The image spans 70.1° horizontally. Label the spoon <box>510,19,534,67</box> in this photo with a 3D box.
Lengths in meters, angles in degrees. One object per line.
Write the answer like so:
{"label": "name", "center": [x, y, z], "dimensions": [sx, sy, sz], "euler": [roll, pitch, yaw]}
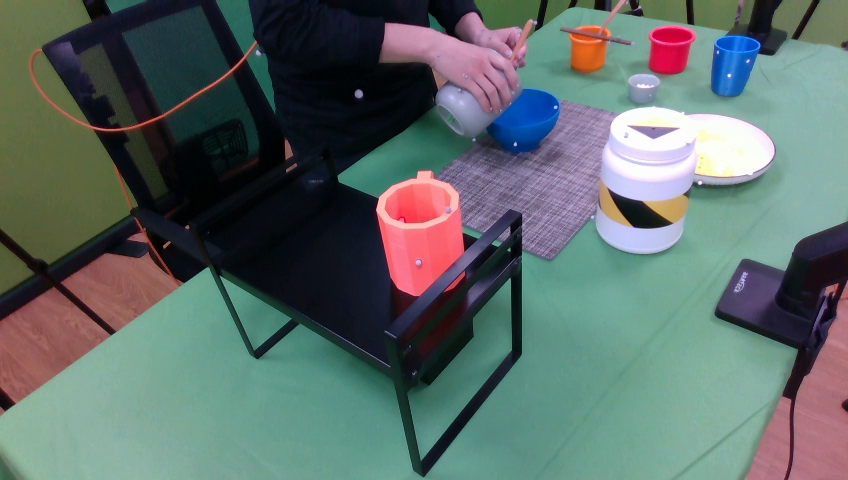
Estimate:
{"label": "spoon", "center": [0.153, -0.313, 1.091], "dimensions": [0.041, 0.022, 0.193], "euler": [23, 81, 36]}

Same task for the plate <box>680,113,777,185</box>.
{"label": "plate", "center": [0.506, -0.158, 1.073], "dimensions": [0.209, 0.038, 0.208], "euler": [-5, 40, 4]}

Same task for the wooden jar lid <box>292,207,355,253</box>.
{"label": "wooden jar lid", "center": [-0.169, -0.015, 1.026], "dimensions": [0.108, 0.021, 0.108], "euler": [-4, 40, 4]}

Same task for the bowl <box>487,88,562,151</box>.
{"label": "bowl", "center": [0.187, -0.223, 1.161], "dimensions": [0.151, 0.077, 0.150], "euler": [-4, 40, 4]}

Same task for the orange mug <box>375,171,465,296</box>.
{"label": "orange mug", "center": [0.000, -0.016, 0.661], "dimensions": [0.083, 0.101, 0.125], "euler": [-2, 45, 8]}

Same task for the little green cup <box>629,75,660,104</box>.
{"label": "little green cup", "center": [0.458, -0.314, 1.260], "dimensions": [0.061, 0.039, 0.061], "euler": [-4, 40, 4]}

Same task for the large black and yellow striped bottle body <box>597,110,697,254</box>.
{"label": "large black and yellow striped bottle body", "center": [0.331, -0.086, 0.904], "dimensions": [0.131, 0.185, 0.130], "euler": [-5, 41, 4]}

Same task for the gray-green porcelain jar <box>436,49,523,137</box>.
{"label": "gray-green porcelain jar", "center": [0.093, -0.252, 1.058], "dimensions": [0.126, 0.107, 0.105], "euler": [-44, 48, -6]}

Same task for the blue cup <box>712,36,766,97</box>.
{"label": "blue cup", "center": [0.627, -0.350, 1.227], "dimensions": [0.092, 0.100, 0.092], "euler": [-4, 39, 4]}

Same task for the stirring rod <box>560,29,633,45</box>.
{"label": "stirring rod", "center": [0.381, -0.452, 1.345], "dimensions": [0.174, 0.006, 0.014], "euler": [25, 49, 33]}

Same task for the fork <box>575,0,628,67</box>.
{"label": "fork", "center": [0.413, -0.481, 1.377], "dimensions": [0.207, 0.019, 0.028], "euler": [-56, 43, 12]}

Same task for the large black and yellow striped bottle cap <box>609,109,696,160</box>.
{"label": "large black and yellow striped bottle cap", "center": [0.319, -0.150, 0.849], "dimensions": [0.115, 0.019, 0.114], "euler": [-4, 39, 4]}
